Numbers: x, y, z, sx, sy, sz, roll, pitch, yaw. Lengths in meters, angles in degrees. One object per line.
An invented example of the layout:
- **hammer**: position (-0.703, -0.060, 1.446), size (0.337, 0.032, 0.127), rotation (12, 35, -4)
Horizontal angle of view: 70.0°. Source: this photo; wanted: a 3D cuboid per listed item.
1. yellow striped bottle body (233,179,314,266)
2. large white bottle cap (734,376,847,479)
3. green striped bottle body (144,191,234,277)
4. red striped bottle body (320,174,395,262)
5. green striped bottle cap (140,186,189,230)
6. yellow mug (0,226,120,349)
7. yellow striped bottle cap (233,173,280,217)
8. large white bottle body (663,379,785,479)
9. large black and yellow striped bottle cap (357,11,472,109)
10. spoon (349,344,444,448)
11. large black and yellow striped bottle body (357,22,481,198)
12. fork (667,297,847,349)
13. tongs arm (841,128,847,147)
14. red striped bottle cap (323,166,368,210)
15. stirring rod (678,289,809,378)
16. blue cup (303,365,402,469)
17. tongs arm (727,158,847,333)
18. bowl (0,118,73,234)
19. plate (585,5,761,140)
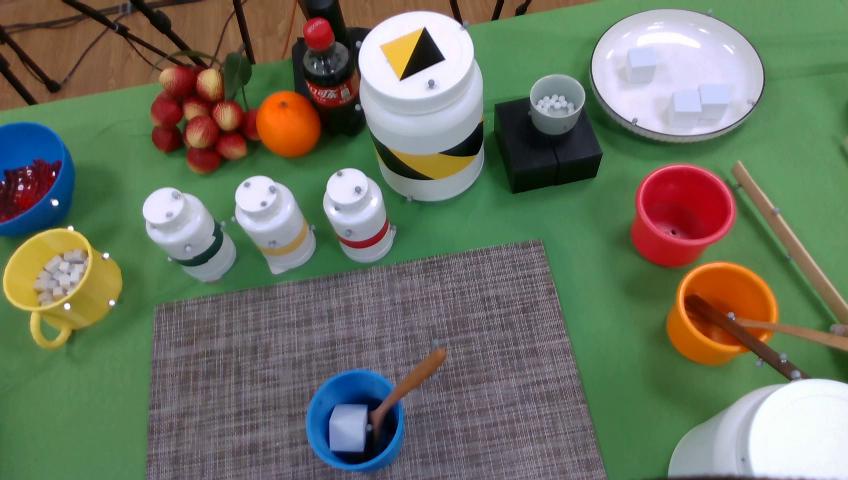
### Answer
- **yellow striped bottle body**: position (-0.167, -0.023, 0.666), size (0.063, 0.121, 0.062), rotation (-3, 63, 6)
- **large white bottle cap**: position (0.273, 0.149, 0.410), size (0.115, 0.018, 0.114), rotation (-2, 63, 4)
- **green striped bottle body**: position (-0.261, -0.010, 0.668), size (0.063, 0.120, 0.062), rotation (-2, 63, 4)
- **red striped bottle body**: position (-0.073, -0.029, 0.661), size (0.063, 0.121, 0.062), rotation (-4, 62, 8)
- **green striped bottle cap**: position (-0.266, -0.033, 0.621), size (0.044, 0.020, 0.044), rotation (-2, 62, 4)
- **yellow mug**: position (-0.410, 0.057, 0.678), size (0.100, 0.064, 0.130), rotation (-1, 64, 4)
- **yellow striped bottle cap**: position (-0.172, -0.046, 0.620), size (0.044, 0.019, 0.044), rotation (-1, 65, 3)
- **large white bottle body**: position (0.281, 0.188, 0.485), size (0.130, 0.186, 0.129), rotation (-2, 63, 4)
- **large black and yellow striped bottle cap**: position (-0.010, -0.181, 0.600), size (0.115, 0.019, 0.114), rotation (-2, 62, 5)
- **spoon**: position (-0.029, 0.143, 0.534), size (0.022, 0.194, 0.041), rotation (0, 54, -28)
- **large black and yellow striped bottle body**: position (-0.002, -0.144, 0.676), size (0.131, 0.185, 0.129), rotation (-2, 63, 4)
- **fork**: position (0.316, 0.079, 0.556), size (0.028, 0.019, 0.206), rotation (-43, 23, -20)
- **tongs arm**: position (0.515, 0.041, 0.621), size (0.028, 0.028, 0.384), rotation (-6, 64, -4)
- **red striped bottle cap**: position (-0.080, -0.053, 0.614), size (0.044, 0.018, 0.044), rotation (0, 61, 1)
- **stirring rod**: position (0.288, 0.083, 0.562), size (0.014, 0.006, 0.174), rotation (-14, 21, -4)
- **blue cup**: position (-0.059, 0.173, 0.565), size (0.092, 0.101, 0.092), rotation (-1, 61, 3)
- **tongs arm**: position (0.438, 0.063, 0.617), size (0.051, 0.027, 0.381), rotation (-19, 64, -7)
- **bowl**: position (-0.492, -0.064, 0.739), size (0.151, 0.077, 0.150), rotation (-2, 64, 4)
- **plate**: position (0.306, -0.207, 0.761), size (0.209, 0.038, 0.207), rotation (-2, 64, 4)
